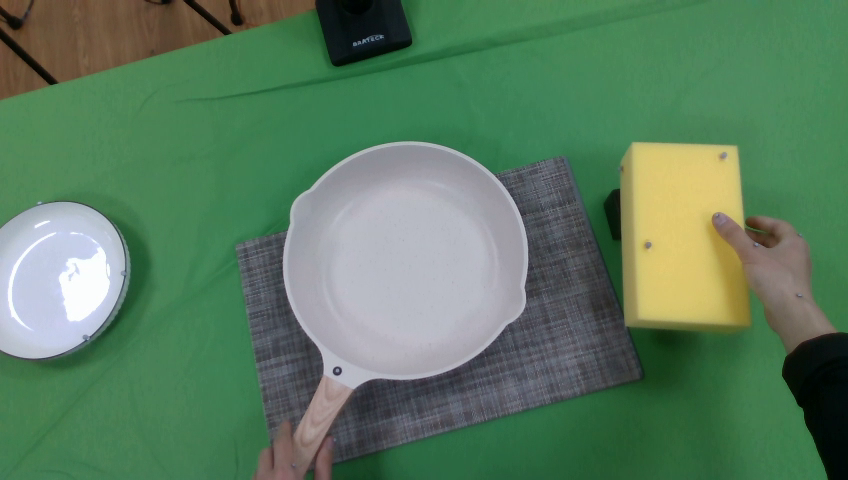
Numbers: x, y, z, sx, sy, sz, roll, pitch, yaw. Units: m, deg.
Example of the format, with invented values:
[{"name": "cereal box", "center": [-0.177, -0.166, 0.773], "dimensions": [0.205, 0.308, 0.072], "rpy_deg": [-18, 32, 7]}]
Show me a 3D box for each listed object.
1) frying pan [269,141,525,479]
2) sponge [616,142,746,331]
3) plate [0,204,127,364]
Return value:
[{"name": "frying pan", "center": [-0.072, 0.110, 0.706], "dimensions": [0.306, 0.103, 0.486], "rpy_deg": [25, 69, 11]}, {"name": "sponge", "center": [0.287, -0.004, 0.690], "dimensions": [0.118, 0.061, 0.205], "rpy_deg": [2, 74, 4]}, {"name": "plate", "center": [-0.482, 0.057, 0.783], "dimensions": [0.207, 0.039, 0.206], "rpy_deg": [-1, 74, 3]}]
